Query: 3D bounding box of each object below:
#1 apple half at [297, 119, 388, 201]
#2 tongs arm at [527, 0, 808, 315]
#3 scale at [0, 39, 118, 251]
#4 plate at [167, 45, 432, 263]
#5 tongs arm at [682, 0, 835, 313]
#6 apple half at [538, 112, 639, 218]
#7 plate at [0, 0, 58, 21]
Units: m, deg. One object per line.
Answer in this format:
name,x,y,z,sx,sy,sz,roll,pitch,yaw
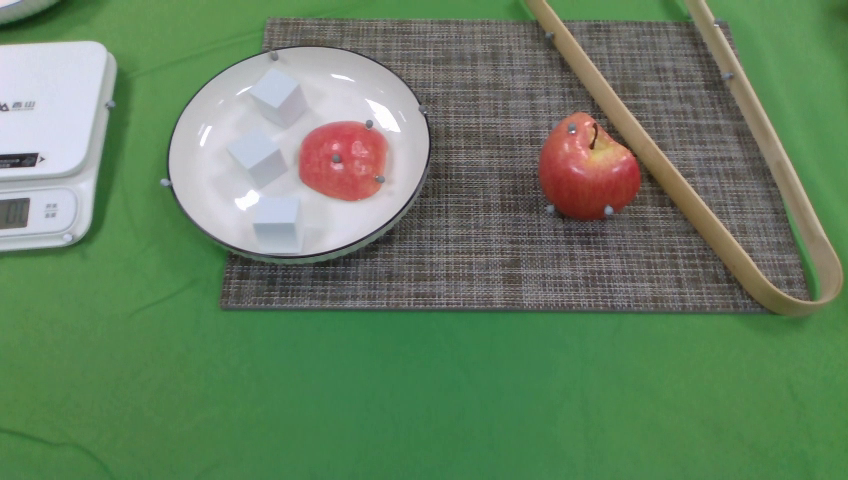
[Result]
apple half,-0.068,-0.073,0.492,0.081,0.033,0.080,2,63,-3
tongs arm,0.182,-0.100,0.519,0.028,0.028,0.384,-21,65,-15
scale,-0.345,-0.085,0.509,0.149,0.032,0.199,-4,64,-2
plate,-0.098,-0.071,0.496,0.209,0.038,0.207,0,63,0
tongs arm,0.262,-0.122,0.529,0.051,0.027,0.381,-10,64,-6
apple half,0.118,-0.050,0.468,0.053,0.075,0.080,-35,72,-12
plate,-0.423,-0.290,0.610,0.208,0.039,0.206,0,63,0
